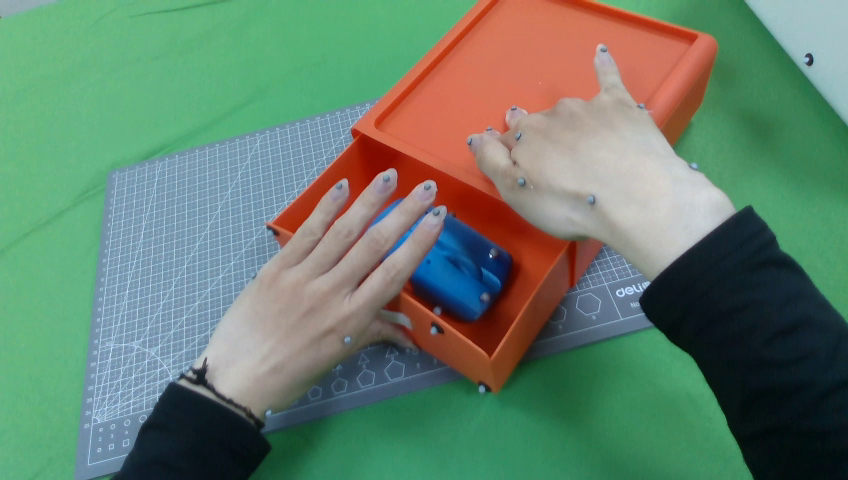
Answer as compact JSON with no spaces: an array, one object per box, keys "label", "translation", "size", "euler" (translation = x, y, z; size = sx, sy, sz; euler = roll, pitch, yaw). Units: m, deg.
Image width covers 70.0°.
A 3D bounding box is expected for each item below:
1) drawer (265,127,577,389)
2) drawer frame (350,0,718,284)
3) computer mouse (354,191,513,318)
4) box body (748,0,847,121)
[{"label":"drawer","translation":[0.027,-0.028,0.454],"size":[0.193,0.074,0.211],"euler":[28,65,27]},{"label":"drawer frame","translation":[0.086,-0.100,0.487],"size":[0.200,0.083,0.213],"euler":[29,66,26]},{"label":"computer mouse","translation":[0.006,0.007,0.450],"size":[0.116,0.041,0.062],"euler":[29,65,20]},{"label":"box body","translation":[0.423,-0.218,0.455],"size":[0.254,0.162,0.360],"euler":[-14,56,1]}]
